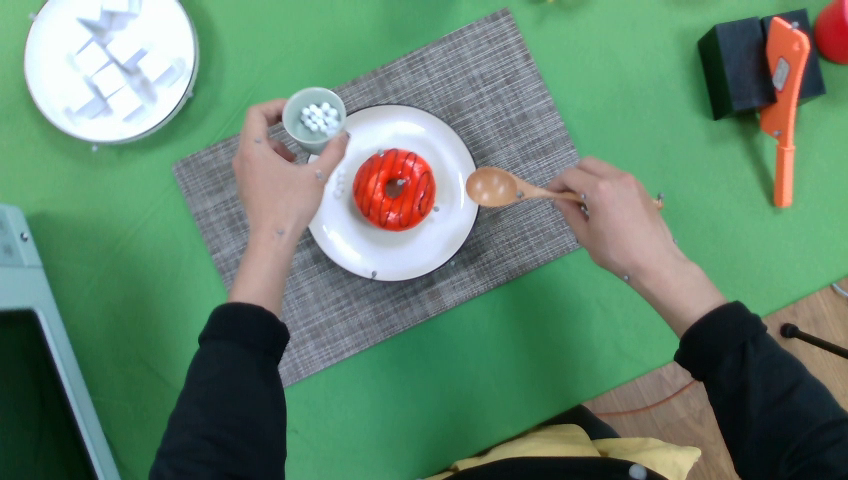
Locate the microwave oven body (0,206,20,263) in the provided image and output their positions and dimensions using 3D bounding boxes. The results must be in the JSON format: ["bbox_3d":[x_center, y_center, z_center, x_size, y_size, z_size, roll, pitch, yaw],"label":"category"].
[{"bbox_3d":[-0.555,0.206,0.598,0.326,0.260,0.441,-22,88,0],"label":"microwave oven body"}]

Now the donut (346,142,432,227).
[{"bbox_3d":[-0.040,-0.063,0.698,0.099,0.048,0.099,0,89,2],"label":"donut"}]

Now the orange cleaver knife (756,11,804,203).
[{"bbox_3d":[0.397,-0.146,0.685,0.012,0.076,0.213,-10,117,3],"label":"orange cleaver knife"}]

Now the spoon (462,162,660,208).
[{"bbox_3d":[0.133,-0.048,0.604,0.193,0.022,0.041,9,93,18],"label":"spoon"}]

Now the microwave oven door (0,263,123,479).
[{"bbox_3d":[-0.404,0.189,0.591,0.039,0.244,0.355,-23,87,0],"label":"microwave oven door"}]

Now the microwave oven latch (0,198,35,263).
[{"bbox_3d":[-0.483,-0.009,0.701,0.030,0.029,0.079,-21,88,0],"label":"microwave oven latch"}]

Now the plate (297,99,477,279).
[{"bbox_3d":[-0.043,-0.058,0.709,0.209,0.038,0.209,0,88,1],"label":"plate"}]

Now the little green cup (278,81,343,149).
[{"bbox_3d":[-0.111,-0.122,0.607,0.061,0.039,0.061,-1,72,4],"label":"little green cup"}]

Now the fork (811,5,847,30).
[{"bbox_3d":[0.541,-0.258,0.655,0.206,0.019,0.028,2,85,43],"label":"fork"}]

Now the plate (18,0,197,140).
[{"bbox_3d":[-0.372,-0.219,0.726,0.208,0.039,0.207,0,88,1],"label":"plate"}]
